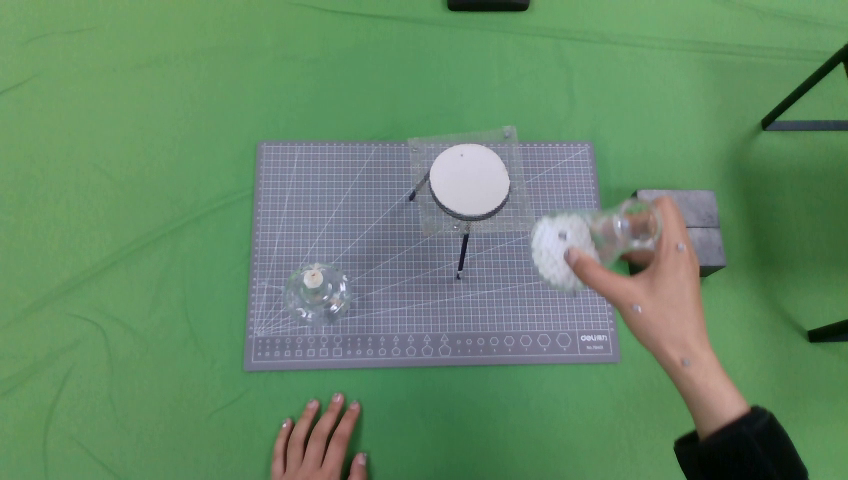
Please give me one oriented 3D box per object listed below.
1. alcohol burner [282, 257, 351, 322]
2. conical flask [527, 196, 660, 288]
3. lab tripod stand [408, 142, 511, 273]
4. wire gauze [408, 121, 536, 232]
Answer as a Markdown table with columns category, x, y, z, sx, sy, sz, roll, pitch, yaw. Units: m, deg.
| category | x | y | z | sx | sy | sz | roll | pitch | yaw |
| --- | --- | --- | --- | --- | --- | --- | --- | --- | --- |
| alcohol burner | -0.122 | 0.051 | 0.683 | 0.078 | 0.119 | 0.077 | 2 | 70 | -5 |
| conical flask | 0.141 | -0.003 | 0.498 | 0.075 | 0.122 | 0.075 | 3 | 78 | -15 |
| lab tripod stand | 0.049 | -0.050 | 0.716 | 0.148 | 0.132 | 0.147 | 1 | 70 | -3 |
| wire gauze | 0.051 | -0.068 | 0.652 | 0.125 | 0.011 | 0.120 | -5 | 73 | -6 |
